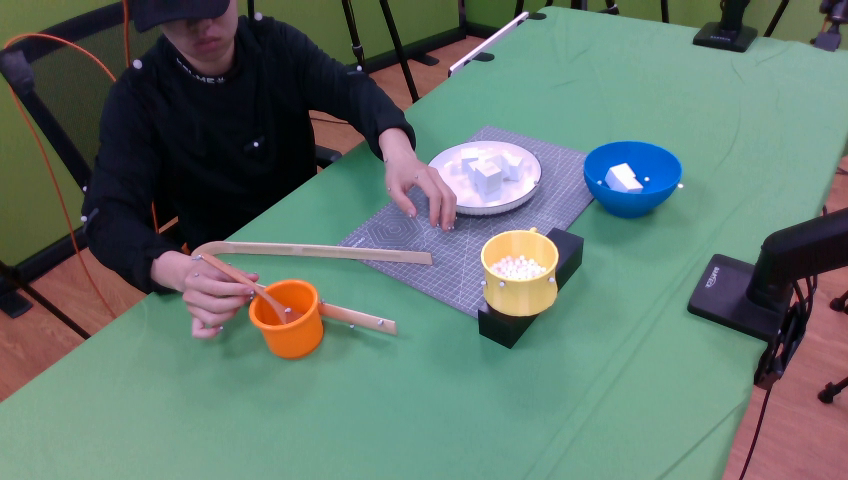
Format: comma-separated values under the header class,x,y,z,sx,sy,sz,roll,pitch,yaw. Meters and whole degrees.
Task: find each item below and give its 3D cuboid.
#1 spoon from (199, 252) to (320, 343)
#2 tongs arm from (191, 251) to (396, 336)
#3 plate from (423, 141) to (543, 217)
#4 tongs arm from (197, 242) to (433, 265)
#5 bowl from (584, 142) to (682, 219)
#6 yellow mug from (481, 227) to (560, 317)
class,x,y,z,sx,sy,sz,roll,pitch,yaw
spoon,-0.220,0.075,0.815,0.021,0.194,0.041,-36,18,37
tongs arm,-0.204,0.074,0.902,0.382,0.026,0.051,11,44,22
plate,0.103,-0.103,1.059,0.207,0.039,0.206,-4,41,4
tongs arm,-0.177,0.024,0.960,0.386,0.028,0.028,2,45,12
bowl,0.333,-0.087,0.980,0.151,0.077,0.150,-4,40,3
yellow mug,0.132,0.032,0.801,0.099,0.064,0.131,11,43,20
